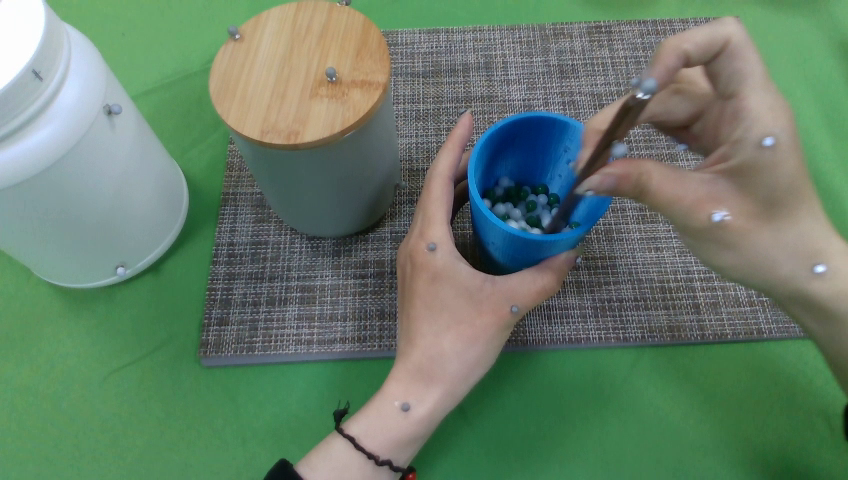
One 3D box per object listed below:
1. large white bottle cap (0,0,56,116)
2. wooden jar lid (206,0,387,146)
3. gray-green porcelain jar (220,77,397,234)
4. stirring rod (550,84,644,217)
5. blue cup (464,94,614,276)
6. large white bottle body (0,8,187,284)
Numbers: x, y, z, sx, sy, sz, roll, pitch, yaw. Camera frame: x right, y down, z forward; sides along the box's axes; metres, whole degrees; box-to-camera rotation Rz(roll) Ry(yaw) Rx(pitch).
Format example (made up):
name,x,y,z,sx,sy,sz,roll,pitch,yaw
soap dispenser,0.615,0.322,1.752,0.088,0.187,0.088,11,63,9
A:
name,x,y,z,sx,sy,sz,roll,pitch,yaw
large white bottle cap,-0.255,-0.100,0.318,0.115,0.018,0.114,-1,64,1
wooden jar lid,-0.075,-0.100,0.366,0.108,0.021,0.107,-2,65,4
gray-green porcelain jar,-0.074,-0.071,0.423,0.106,0.127,0.105,-1,64,2
stirring rod,0.077,-0.027,0.313,0.014,0.177,0.006,-38,76,-13
blue cup,0.065,-0.021,0.389,0.092,0.101,0.092,0,67,0
large white bottle body,-0.252,-0.062,0.394,0.130,0.186,0.129,-1,64,2
